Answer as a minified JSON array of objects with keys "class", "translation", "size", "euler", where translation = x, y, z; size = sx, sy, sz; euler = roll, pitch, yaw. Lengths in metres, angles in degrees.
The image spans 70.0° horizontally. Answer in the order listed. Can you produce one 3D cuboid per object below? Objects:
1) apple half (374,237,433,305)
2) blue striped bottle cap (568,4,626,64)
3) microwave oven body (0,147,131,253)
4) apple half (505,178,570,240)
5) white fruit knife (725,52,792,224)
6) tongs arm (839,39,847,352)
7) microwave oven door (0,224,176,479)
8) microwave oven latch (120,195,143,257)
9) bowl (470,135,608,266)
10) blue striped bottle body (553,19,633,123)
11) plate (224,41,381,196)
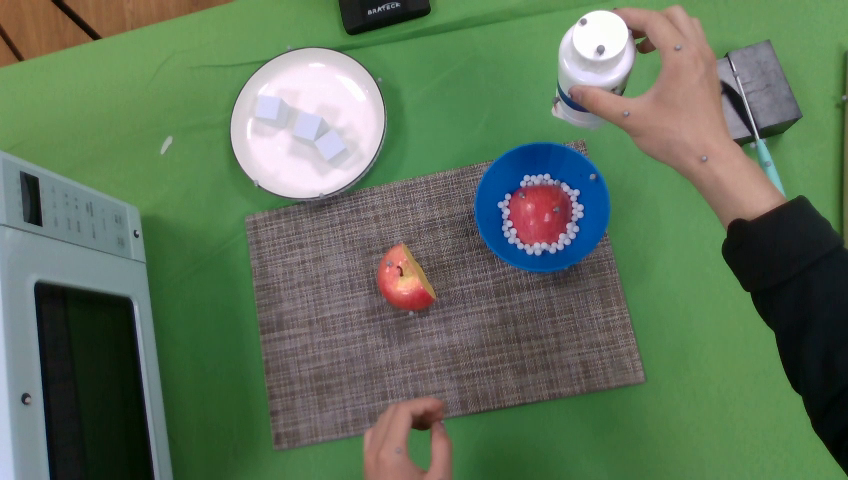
[{"class":"apple half","translation":[-0.030,0.044,0.719],"size":[0.053,0.075,0.080],"euler":[-32,81,5]},{"class":"blue striped bottle cap","translation":[0.138,-0.165,0.485],"size":[0.044,0.021,0.044],"euler":[-2,84,13]},{"class":"microwave oven body","translation":[-0.506,0.171,0.668],"size":[0.326,0.261,0.439],"euler":[-14,79,5]},{"class":"apple half","translation":[0.133,-0.038,0.703],"size":[0.081,0.033,0.081],"euler":[-2,79,8]},{"class":"white fruit knife","translation":[0.376,-0.113,0.685],"size":[0.016,0.027,0.207],"euler":[-21,95,22]},{"class":"tongs arm","translation":[0.492,-0.052,0.690],"size":[0.028,0.028,0.386],"euler":[4,82,7]},{"class":"microwave oven door","translation":[-0.356,0.175,0.641],"size":[0.039,0.245,0.354],"euler":[-14,79,6]},{"class":"microwave oven latch","translation":[-0.386,-0.016,0.782],"size":[0.030,0.029,0.079],"euler":[-14,79,5]},{"class":"bowl","translation":[0.131,-0.038,0.707],"size":[0.151,0.077,0.151],"euler":[-1,80,9]},{"class":"blue striped bottle body","translation":[0.148,-0.154,0.535],"size":[0.063,0.121,0.063],"euler":[-2,79,10]},{"class":"plate","translation":[-0.156,-0.155,0.793],"size":[0.207,0.039,0.207],"euler":[-1,80,7]}]
